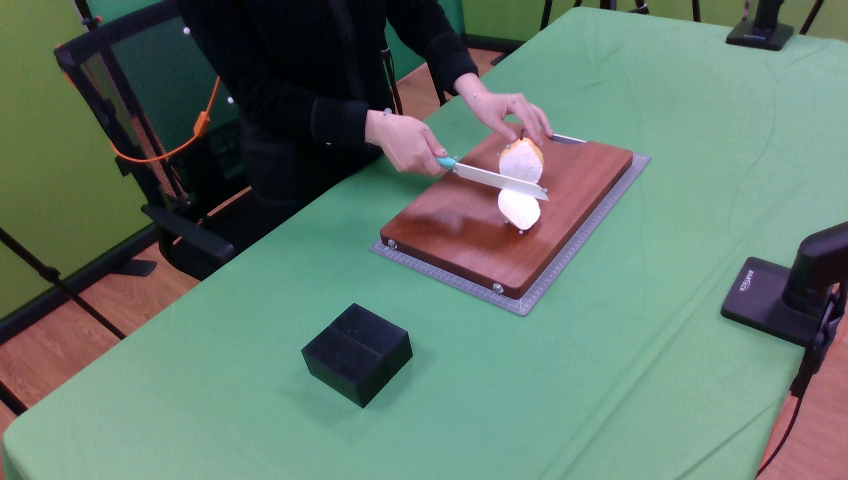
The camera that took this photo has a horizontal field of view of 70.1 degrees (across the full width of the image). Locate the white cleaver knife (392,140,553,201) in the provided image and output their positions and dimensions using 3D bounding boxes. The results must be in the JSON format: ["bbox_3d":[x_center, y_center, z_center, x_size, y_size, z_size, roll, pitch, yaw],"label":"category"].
[{"bbox_3d":[0.067,-0.106,0.958,0.284,0.066,0.021,22,79,28],"label":"white cleaver knife"}]

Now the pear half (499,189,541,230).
[{"bbox_3d":[0.149,-0.044,0.956,0.071,0.031,0.087,4,56,-9],"label":"pear half"}]

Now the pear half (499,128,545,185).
[{"bbox_3d":[0.165,-0.145,1.013,0.076,0.110,0.056,4,41,6],"label":"pear half"}]
